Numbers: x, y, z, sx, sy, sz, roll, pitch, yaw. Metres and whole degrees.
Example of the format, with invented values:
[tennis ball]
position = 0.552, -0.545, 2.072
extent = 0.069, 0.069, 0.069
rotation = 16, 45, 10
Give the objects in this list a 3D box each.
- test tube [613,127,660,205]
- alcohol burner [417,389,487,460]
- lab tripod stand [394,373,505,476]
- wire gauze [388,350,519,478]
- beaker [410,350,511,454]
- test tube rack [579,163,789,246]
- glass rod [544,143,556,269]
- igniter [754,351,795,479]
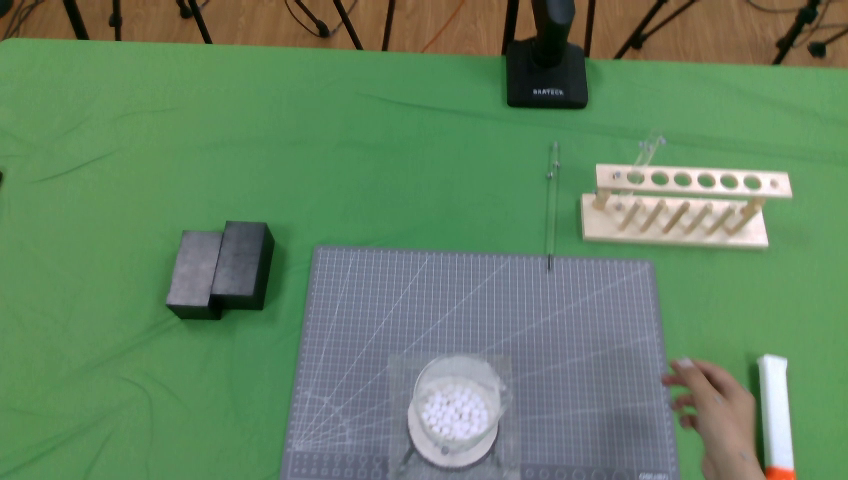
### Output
[test tube]
position = 0.263, -0.088, 0.758
extent = 0.017, 0.151, 0.017
rotation = 0, 61, 1
[alcohol burner]
position = 0.032, 0.195, 0.654
extent = 0.078, 0.120, 0.077
rotation = 1, 62, -2
[lab tripod stand]
position = 0.026, 0.198, 0.642
extent = 0.148, 0.132, 0.147
rotation = 0, 63, 1
[wire gauze]
position = 0.026, 0.166, 0.584
extent = 0.125, 0.011, 0.120
rotation = -1, 62, 1
[beaker]
position = 0.030, 0.148, 0.539
extent = 0.084, 0.101, 0.073
rotation = -2, 63, -2
[test tube rack]
position = 0.335, -0.045, 0.793
extent = 0.242, 0.086, 0.066
rotation = 3, 64, 1
[glass rod]
position = 0.175, -0.050, 0.835
extent = 0.008, 0.008, 0.198
rotation = 7, 66, 3
[igniter]
position = 0.396, 0.260, 0.679
extent = 0.057, 0.025, 0.274
rotation = 13, 65, -6
